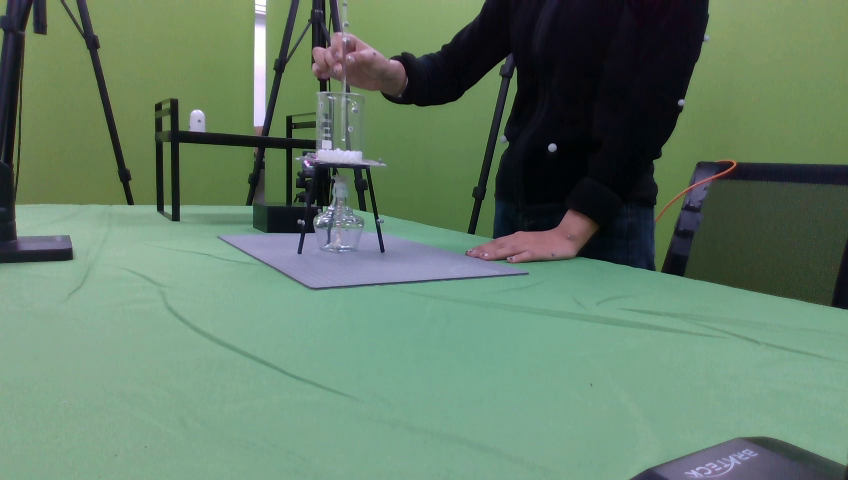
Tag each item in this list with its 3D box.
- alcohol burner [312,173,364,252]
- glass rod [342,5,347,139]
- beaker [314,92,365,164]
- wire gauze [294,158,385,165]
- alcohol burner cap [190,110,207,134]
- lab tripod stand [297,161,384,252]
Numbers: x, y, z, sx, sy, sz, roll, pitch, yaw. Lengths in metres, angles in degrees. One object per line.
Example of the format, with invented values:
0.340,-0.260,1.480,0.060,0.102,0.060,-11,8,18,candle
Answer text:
-0.129,-0.042,0.910,0.078,0.119,0.078,4,8,0,alcohol burner
-0.117,-0.248,0.892,0.008,0.199,0.008,0,-2,0,glass rod
-0.123,-0.163,0.893,0.073,0.100,0.084,8,9,31,beaker
-0.128,-0.117,0.901,0.125,0.011,0.121,-1,8,-14,wire gauze
-0.463,-0.242,1.240,0.034,0.048,0.034,2,7,0,alcohol burner cap
-0.130,-0.051,0.903,0.148,0.131,0.148,4,9,0,lab tripod stand
